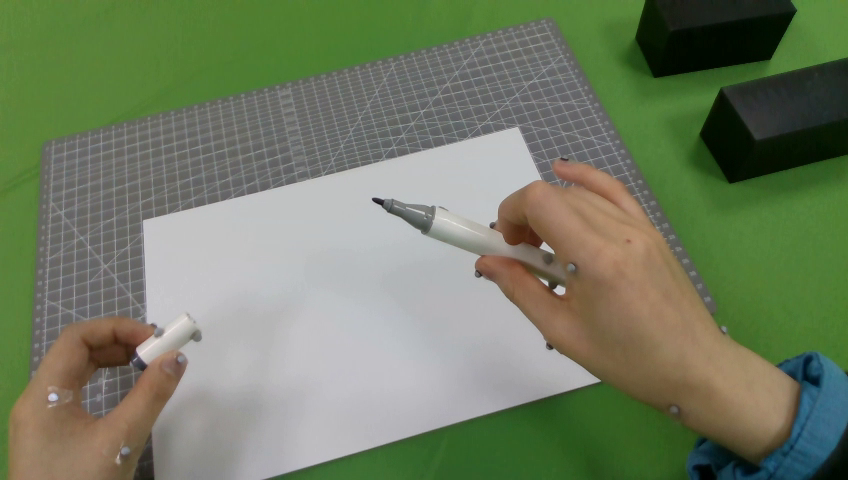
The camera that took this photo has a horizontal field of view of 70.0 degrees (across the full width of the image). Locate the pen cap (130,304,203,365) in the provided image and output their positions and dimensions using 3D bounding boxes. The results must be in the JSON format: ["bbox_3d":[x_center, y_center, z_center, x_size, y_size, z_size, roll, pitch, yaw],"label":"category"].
[{"bbox_3d":[-0.143,0.053,0.335,0.038,0.017,0.017,-36,64,-9],"label":"pen cap"}]

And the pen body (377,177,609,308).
[{"bbox_3d":[0.039,0.001,0.330,0.145,0.017,0.017,27,63,-12],"label":"pen body"}]
